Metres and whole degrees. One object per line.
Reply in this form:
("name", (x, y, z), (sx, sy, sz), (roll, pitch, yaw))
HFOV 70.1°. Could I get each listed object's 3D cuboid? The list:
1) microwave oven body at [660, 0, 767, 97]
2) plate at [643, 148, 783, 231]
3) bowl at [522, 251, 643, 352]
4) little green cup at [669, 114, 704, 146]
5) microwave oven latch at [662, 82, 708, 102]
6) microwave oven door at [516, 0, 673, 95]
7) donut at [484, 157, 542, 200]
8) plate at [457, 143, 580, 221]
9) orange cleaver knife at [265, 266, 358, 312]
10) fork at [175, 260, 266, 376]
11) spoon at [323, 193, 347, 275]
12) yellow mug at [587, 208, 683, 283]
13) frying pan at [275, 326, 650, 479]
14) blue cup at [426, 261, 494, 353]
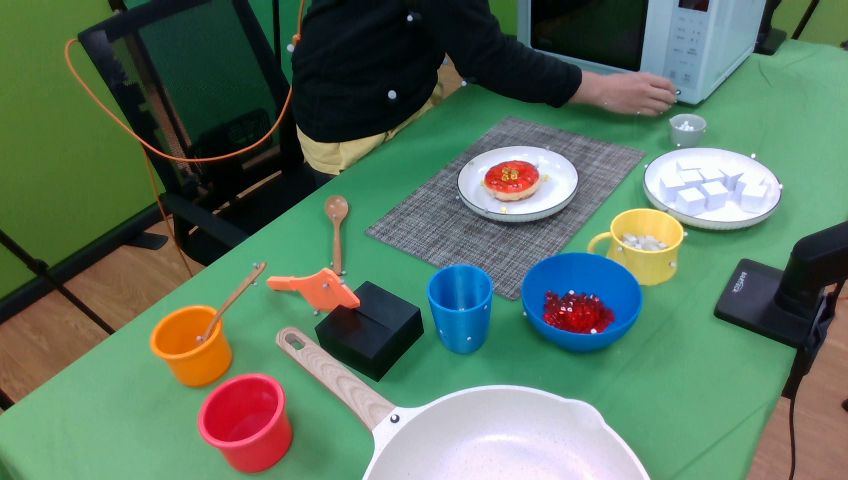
("microwave oven body", (0.473, -0.516, 1.313), (0.438, 0.261, 0.327), (26, 51, 34))
("plate", (0.464, -0.080, 0.985), (0.207, 0.039, 0.206), (-4, 41, 4))
("bowl", (0.204, 0.093, 0.792), (0.151, 0.077, 0.150), (-4, 40, 4))
("little green cup", (0.486, -0.203, 1.123), (0.061, 0.039, 0.061), (-6, 38, 5))
("microwave oven latch", (0.517, -0.298, 1.202), (0.078, 0.029, 0.030), (26, 51, 33))
("microwave oven door", (0.344, -0.458, 1.257), (0.353, 0.245, 0.039), (27, 51, 33))
("donut", (0.153, -0.107, 1.039), (0.099, 0.048, 0.098), (-6, 37, 5))
("plate", (0.162, -0.097, 1.042), (0.209, 0.038, 0.208), (-4, 40, 4))
("orange cleaver knife", (-0.165, 0.073, 0.864), (0.210, 0.077, 0.012), (-6, 31, 50))
("fork", (-0.268, 0.103, 0.792), (0.207, 0.019, 0.028), (-51, 41, 16))
("spoon", (-0.148, -0.014, 1.007), (0.042, 0.021, 0.192), (4, 39, -12))
("yellow mug", (0.305, 0.009, 0.884), (0.131, 0.064, 0.099), (-4, 41, 5))
("frying pan", (0.003, 0.230, 0.641), (0.484, 0.103, 0.308), (34, 54, 28))
("blue cup", (0.049, 0.095, 0.792), (0.092, 0.100, 0.092), (-3, 42, 3))
